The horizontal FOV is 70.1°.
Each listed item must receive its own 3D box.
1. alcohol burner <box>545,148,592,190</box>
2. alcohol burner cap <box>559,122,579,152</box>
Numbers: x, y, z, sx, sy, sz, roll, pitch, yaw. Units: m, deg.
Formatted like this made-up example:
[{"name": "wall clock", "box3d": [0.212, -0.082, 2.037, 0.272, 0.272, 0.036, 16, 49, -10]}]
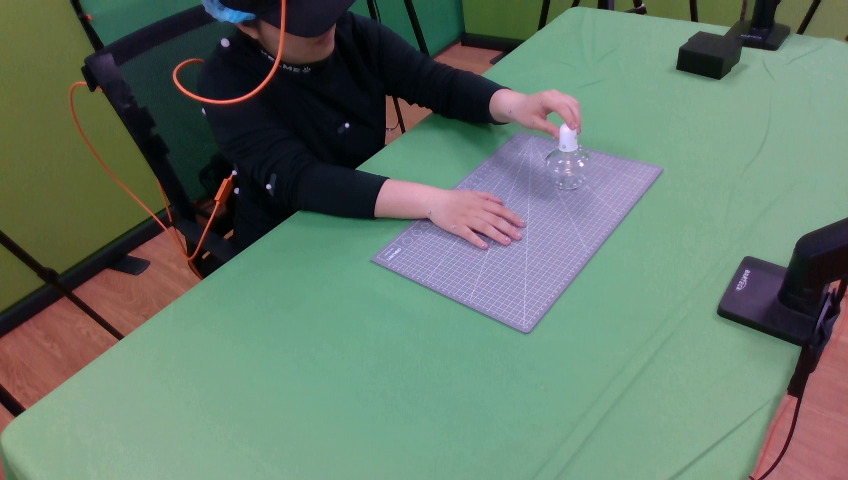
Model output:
[{"name": "alcohol burner", "box3d": [0.247, -0.146, 1.035, 0.078, 0.120, 0.077, -7, 41, 6]}, {"name": "alcohol burner cap", "box3d": [0.241, -0.173, 1.011, 0.034, 0.048, 0.033, -8, 37, 7]}]
